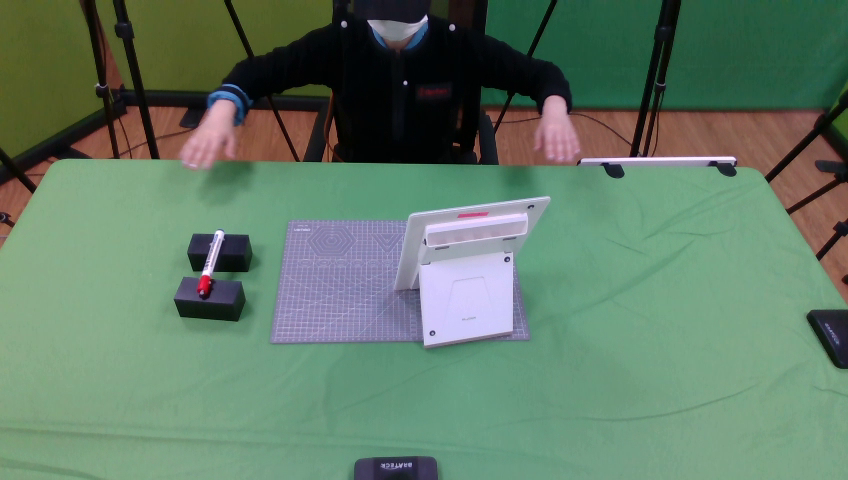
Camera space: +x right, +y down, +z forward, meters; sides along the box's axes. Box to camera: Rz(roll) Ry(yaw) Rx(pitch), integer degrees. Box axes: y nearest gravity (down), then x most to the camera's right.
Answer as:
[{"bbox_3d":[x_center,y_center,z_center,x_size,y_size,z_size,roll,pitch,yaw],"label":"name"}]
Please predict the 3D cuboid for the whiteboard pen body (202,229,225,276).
[{"bbox_3d":[-0.374,0.032,1.071,0.017,0.017,0.139,2,45,-2],"label":"whiteboard pen body"}]

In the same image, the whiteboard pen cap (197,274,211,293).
[{"bbox_3d":[-0.373,0.074,1.031,0.017,0.017,0.032,2,44,-2],"label":"whiteboard pen cap"}]

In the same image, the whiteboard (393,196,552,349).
[{"bbox_3d":[0.077,0.071,0.977,0.217,0.306,0.143,-7,66,-11],"label":"whiteboard"}]
